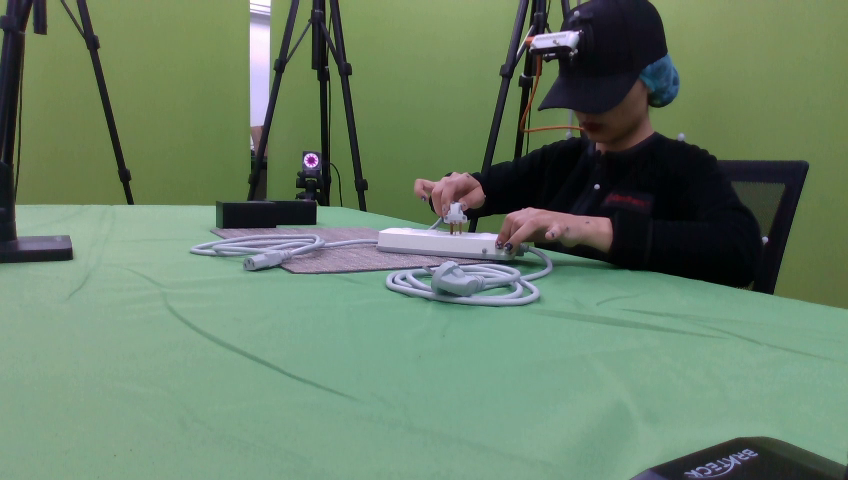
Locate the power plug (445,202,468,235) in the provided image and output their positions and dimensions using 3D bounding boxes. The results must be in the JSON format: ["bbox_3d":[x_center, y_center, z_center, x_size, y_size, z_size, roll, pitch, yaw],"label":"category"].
[{"bbox_3d":[0.054,-0.030,0.911,0.035,0.052,0.073,-3,-8,20],"label":"power plug"}]

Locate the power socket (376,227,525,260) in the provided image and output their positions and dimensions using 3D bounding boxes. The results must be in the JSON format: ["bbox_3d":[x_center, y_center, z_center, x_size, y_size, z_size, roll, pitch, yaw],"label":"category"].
[{"bbox_3d":[0.037,0.004,0.911,0.226,0.032,0.072,4,9,15],"label":"power socket"}]
